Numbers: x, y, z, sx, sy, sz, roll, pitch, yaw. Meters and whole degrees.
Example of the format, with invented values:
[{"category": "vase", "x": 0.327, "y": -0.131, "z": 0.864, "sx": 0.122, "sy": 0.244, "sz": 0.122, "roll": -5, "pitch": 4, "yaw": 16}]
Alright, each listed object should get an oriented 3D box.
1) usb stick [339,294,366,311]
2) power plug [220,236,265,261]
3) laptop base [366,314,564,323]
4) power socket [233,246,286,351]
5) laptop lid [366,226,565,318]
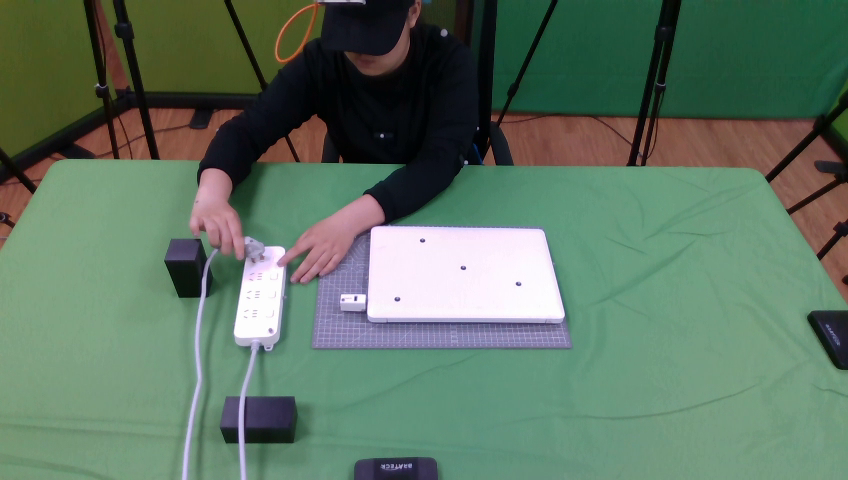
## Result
[{"category": "usb stick", "x": -0.119, "y": 0.111, "z": 1.068, "sx": 0.059, "sy": 0.027, "sz": 0.021, "roll": 4, "pitch": 47, "yaw": -5}, {"category": "power plug", "x": -0.326, "y": 0.015, "z": 1.104, "sx": 0.072, "sy": 0.053, "sz": 0.035, "roll": 6, "pitch": 43, "yaw": 14}, {"category": "laptop base", "x": 0.071, "y": 0.065, "z": 1.144, "sx": 0.355, "sy": 0.023, "sz": 0.234, "roll": 1, "pitch": 43, "yaw": -4}, {"category": "power socket", "x": -0.289, "y": 0.095, "z": 1.077, "sx": 0.072, "sy": 0.033, "sz": 0.225, "roll": -2, "pitch": 46, "yaw": -5}, {"category": "laptop lid", "x": 0.071, "y": 0.054, "z": 1.137, "sx": 0.357, "sy": 0.013, "sz": 0.240, "roll": 2, "pitch": 44, "yaw": -3}]
